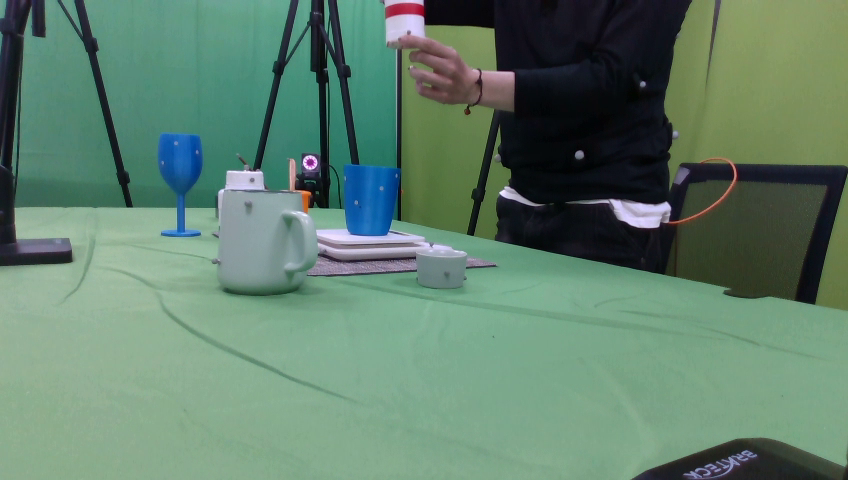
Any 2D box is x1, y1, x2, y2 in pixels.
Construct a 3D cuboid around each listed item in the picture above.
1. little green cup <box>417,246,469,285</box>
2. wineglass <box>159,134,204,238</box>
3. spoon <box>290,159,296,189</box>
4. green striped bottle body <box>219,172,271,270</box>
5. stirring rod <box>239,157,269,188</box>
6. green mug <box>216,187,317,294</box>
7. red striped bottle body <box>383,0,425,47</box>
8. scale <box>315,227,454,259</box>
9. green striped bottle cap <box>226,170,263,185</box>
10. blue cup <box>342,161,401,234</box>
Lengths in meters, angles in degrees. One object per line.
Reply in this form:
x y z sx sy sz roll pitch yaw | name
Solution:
0.021 0.029 0.701 0.061 0.038 0.061 1 6 0 | little green cup
-0.415 -0.093 1.040 0.074 0.172 0.073 2 7 0 | wineglass
-0.273 -0.102 1.252 0.042 0.193 0.021 7 -39 -17 | spoon
-0.223 -0.025 0.755 0.063 0.119 0.063 2 7 0 | green striped bottle body
-0.309 -0.098 1.209 0.006 0.177 0.014 -39 29 -4 | stirring rod
-0.157 0.000 0.629 0.124 0.105 0.093 7 8 37 | green mug
-0.033 -0.369 0.946 0.063 0.119 0.063 -3 6 1 | red striped bottle body
-0.066 0.001 0.906 0.202 0.031 0.148 -2 8 -31 | scale
-0.222 -0.077 0.748 0.044 0.020 0.044 1 7 0 | green striped bottle cap
-0.079 -0.061 0.882 0.093 0.100 0.092 4 5 0 | blue cup
